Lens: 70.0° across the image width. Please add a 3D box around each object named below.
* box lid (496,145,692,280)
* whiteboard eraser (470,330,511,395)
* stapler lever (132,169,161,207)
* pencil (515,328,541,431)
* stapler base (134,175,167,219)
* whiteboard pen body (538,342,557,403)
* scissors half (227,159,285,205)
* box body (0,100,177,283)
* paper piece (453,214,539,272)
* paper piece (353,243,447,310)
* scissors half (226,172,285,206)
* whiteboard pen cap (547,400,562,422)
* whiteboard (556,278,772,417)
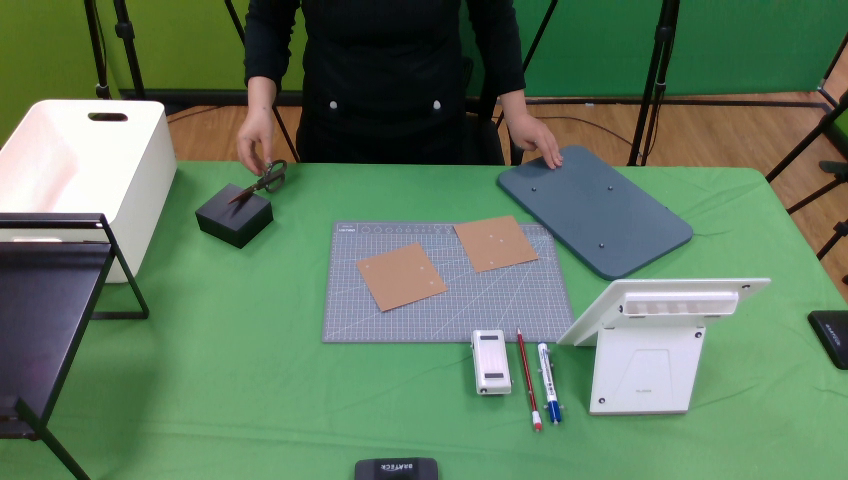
[{"bbox_3d":[0.360,-0.073,1.304,0.263,0.015,0.369,-24,51,-25],"label":"box lid"},{"bbox_3d":[0.109,0.202,0.998,0.055,0.042,0.112,1,46,-5],"label":"whiteboard eraser"},{"bbox_3d":[-0.558,-0.113,1.218,0.027,0.040,0.117,0,42,-8],"label":"stapler lever"},{"bbox_3d":[0.169,0.224,1.002,0.012,0.012,0.192,-2,46,-6],"label":"pencil"},{"bbox_3d":[-0.559,-0.093,1.234,0.041,0.024,0.129,0,43,-8],"label":"stapler base"},{"bbox_3d":[0.205,0.228,0.997,0.017,0.017,0.140,1,47,-3],"label":"whiteboard pen body"},{"bbox_3d":[-0.337,-0.116,1.218,0.013,0.040,0.175,24,46,15],"label":"scissors half"},{"bbox_3d":[-0.639,-0.095,1.140,0.254,0.161,0.361,0,46,-4],"label":"box body"},{"bbox_3d":[0.142,0.003,1.213,0.135,0.004,0.135,-11,48,-15],"label":"paper piece"},{"bbox_3d":[-0.046,0.066,1.137,0.136,0.009,0.137,-13,47,-22],"label":"paper piece"},{"bbox_3d":[-0.339,-0.101,1.230,0.013,0.040,0.175,20,29,19],"label":"scissors half"},{"bbox_3d":[0.205,0.269,0.956,0.018,0.018,0.033,0,47,-5],"label":"whiteboard pen cap"},{"bbox_3d":[0.347,0.174,0.903,0.217,0.306,0.143,1,65,-4],"label":"whiteboard"}]
